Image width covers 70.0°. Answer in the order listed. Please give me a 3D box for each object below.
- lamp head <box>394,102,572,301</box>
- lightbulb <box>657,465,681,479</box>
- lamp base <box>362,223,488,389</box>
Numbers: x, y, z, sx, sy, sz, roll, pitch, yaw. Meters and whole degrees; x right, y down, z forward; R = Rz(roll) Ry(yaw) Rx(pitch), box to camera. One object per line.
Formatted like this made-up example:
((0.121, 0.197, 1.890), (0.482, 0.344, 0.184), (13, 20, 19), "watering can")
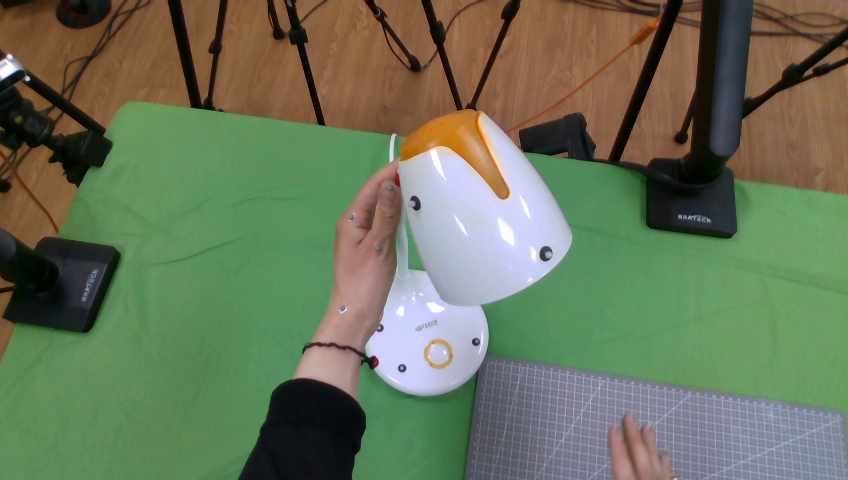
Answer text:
((0.030, -0.035, 0.435), (0.112, 0.111, 0.123), (-36, 108, -15), "lamp head")
((0.280, 0.303, 0.671), (0.059, 0.060, 0.106), (3, 50, 2), "lightbulb")
((-0.007, 0.068, 0.708), (0.160, 0.181, 0.177), (-30, 66, -13), "lamp base")
